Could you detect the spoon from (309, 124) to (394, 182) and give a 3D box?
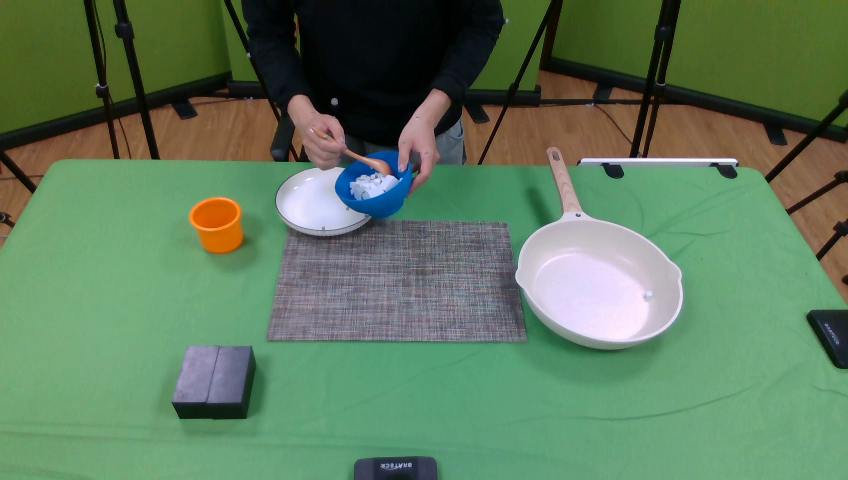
[{"bbox_3d":[-0.129,-0.158,1.110,0.195,0.021,0.041,25,38,-31],"label":"spoon"}]

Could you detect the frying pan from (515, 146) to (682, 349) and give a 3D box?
[{"bbox_3d":[0.303,-0.004,1.168,0.307,0.103,0.484,-1,55,-7],"label":"frying pan"}]

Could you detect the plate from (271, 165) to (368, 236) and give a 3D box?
[{"bbox_3d":[-0.204,-0.076,1.240,0.208,0.039,0.206,3,44,-2],"label":"plate"}]

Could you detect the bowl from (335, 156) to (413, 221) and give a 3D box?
[{"bbox_3d":[-0.085,-0.089,1.146,0.151,0.077,0.150,-13,32,9],"label":"bowl"}]
